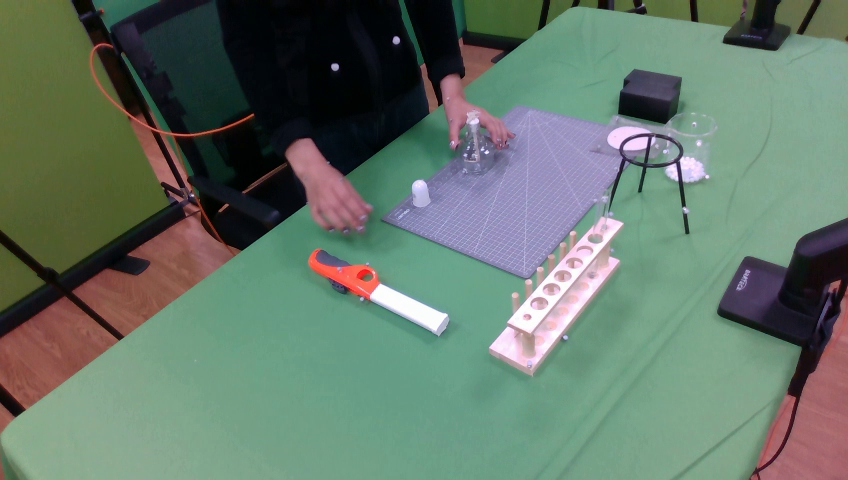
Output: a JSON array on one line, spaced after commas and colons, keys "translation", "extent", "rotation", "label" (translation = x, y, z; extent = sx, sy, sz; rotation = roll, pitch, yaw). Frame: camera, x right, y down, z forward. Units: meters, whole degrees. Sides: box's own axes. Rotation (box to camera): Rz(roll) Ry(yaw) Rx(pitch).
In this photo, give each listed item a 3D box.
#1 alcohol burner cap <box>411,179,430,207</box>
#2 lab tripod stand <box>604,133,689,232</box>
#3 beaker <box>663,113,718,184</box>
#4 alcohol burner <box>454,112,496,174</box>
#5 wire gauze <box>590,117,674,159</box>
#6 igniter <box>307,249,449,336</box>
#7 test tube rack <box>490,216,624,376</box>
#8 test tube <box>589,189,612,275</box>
[{"translation": [-0.008, -0.085, 1.063], "extent": [0.034, 0.048, 0.033], "rotation": [-4, 41, 4], "label": "alcohol burner cap"}, {"translation": [0.347, -0.086, 0.932], "extent": [0.148, 0.132, 0.147], "rotation": [-4, 40, 4], "label": "lab tripod stand"}, {"translation": [0.442, -0.151, 1.018], "extent": [0.084, 0.101, 0.074], "rotation": [-1, 40, 11], "label": "beaker"}, {"translation": [0.092, -0.181, 1.102], "extent": [0.078, 0.119, 0.077], "rotation": [-5, 42, 5], "label": "alcohol burner"}, {"translation": [0.393, -0.192, 1.139], "extent": [0.120, 0.011, 0.125], "rotation": [19, 47, 28], "label": "wire gauze"}, {"translation": [-0.079, 0.073, 0.905], "extent": [0.274, 0.025, 0.057], "rotation": [23, 61, 32], "label": "igniter"}, {"translation": [0.184, 0.064, 0.822], "extent": [0.066, 0.085, 0.243], "rotation": [24, 50, 33], "label": "test tube rack"}, {"translation": [0.238, -0.007, 0.818], "extent": [0.017, 0.151, 0.017], "rotation": [-3, 43, 4], "label": "test tube"}]
